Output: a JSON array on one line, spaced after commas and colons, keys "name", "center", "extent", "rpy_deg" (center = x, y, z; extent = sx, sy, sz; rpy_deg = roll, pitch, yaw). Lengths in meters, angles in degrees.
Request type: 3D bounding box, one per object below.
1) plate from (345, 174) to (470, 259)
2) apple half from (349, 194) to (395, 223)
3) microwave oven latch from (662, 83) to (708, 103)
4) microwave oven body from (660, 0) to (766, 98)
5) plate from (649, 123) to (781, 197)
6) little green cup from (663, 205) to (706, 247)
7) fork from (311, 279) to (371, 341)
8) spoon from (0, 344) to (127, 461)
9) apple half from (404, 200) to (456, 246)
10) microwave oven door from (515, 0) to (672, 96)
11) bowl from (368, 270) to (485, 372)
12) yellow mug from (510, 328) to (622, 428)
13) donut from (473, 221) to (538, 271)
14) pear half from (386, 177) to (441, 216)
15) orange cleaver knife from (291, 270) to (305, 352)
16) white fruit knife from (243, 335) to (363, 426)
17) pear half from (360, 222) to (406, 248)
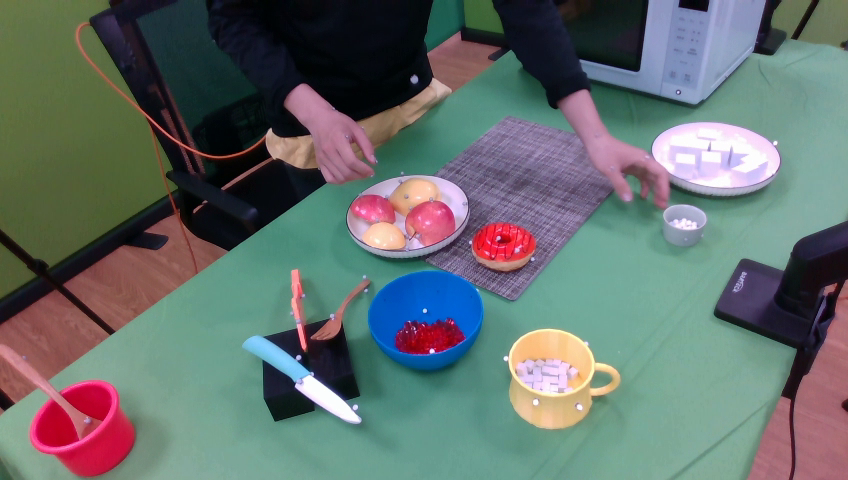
[{"name": "plate", "center": [-0.026, -0.037, 1.004], "extent": [0.209, 0.038, 0.208], "rpy_deg": [-4, 40, 4]}, {"name": "apple half", "center": [-0.081, -0.058, 1.008], "extent": [0.081, 0.033, 0.081], "rpy_deg": [12, 23, -5]}, {"name": "microwave oven latch", "center": [0.518, -0.296, 1.204], "extent": [0.078, 0.029, 0.030], "rpy_deg": [28, 52, 35]}, {"name": "microwave oven body", "center": [0.472, -0.513, 1.317], "extent": [0.438, 0.261, 0.327], "rpy_deg": [26, 51, 34]}, {"name": "plate", "center": [0.497, -0.135, 1.046], "extent": [0.207, 0.039, 0.206], "rpy_deg": [-4, 40, 4]}, {"name": "little green cup", "center": [0.396, -0.021, 0.926], "extent": [0.061, 0.039, 0.061], "rpy_deg": [-4, 40, 4]}, {"name": "fork", "center": [-0.108, 0.092, 0.832], "extent": [0.028, 0.019, 0.207], "rpy_deg": [-6, 19, 15]}, {"name": "spoon", "center": [-0.433, 0.191, 0.721], "extent": [0.194, 0.021, 0.042], "rpy_deg": [47, 53, -6]}, {"name": "apple half", "center": [0.009, -0.035, 0.969], "extent": [0.075, 0.053, 0.080], "rpy_deg": [-27, 40, -22]}, {"name": "microwave oven door", "center": [0.344, -0.455, 1.259], "extent": [0.353, 0.245, 0.039], "rpy_deg": [26, 51, 33]}, {"name": "bowl", "center": [0.007, 0.118, 0.791], "extent": [0.151, 0.077, 0.150], "rpy_deg": [-5, 40, 4]}, {"name": "yellow mug", "center": [0.169, 0.164, 0.721], "extent": [0.130, 0.064, 0.099], "rpy_deg": [0, 40, 8]}, {"name": "donut", "center": [0.123, 0.008, 0.923], "extent": [0.099, 0.048, 0.098], "rpy_deg": [-3, 38, 3]}, {"name": "pear half", "center": [-0.029, -0.079, 1.033], "extent": [0.109, 0.056, 0.076], "rpy_deg": [-1, 37, 17]}, {"name": "orange cleaver knife", "center": [-0.175, 0.094, 0.844], "extent": [0.012, 0.077, 0.210], "rpy_deg": [-11, 14, -10]}, {"name": "white fruit knife", "center": [-0.148, 0.167, 0.730], "extent": [0.206, 0.016, 0.027], "rpy_deg": [26, 80, 31]}, {"name": "pear half", "center": [-0.064, -0.013, 0.959], "extent": [0.071, 0.031, 0.087], "rpy_deg": [5, 21, -24]}]
